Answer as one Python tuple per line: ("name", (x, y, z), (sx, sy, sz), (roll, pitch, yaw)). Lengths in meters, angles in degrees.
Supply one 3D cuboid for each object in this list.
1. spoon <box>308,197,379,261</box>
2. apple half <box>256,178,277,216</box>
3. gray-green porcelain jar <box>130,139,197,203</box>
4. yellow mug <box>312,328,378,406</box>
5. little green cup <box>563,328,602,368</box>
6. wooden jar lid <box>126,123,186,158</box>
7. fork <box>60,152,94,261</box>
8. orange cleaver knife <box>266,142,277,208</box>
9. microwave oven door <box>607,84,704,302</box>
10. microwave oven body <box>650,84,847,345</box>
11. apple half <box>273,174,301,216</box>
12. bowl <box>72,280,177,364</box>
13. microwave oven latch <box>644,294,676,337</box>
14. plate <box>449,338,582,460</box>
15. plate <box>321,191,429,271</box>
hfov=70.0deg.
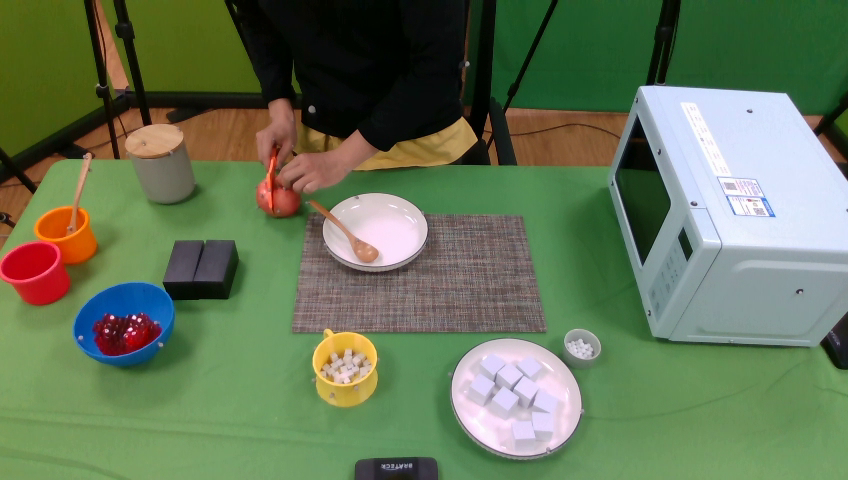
("spoon", (-0.158, -0.025, 1.172), (0.041, 0.022, 0.193), (-40, 72, -21))
("apple half", (-0.319, -0.083, 1.217), (0.033, 0.082, 0.080), (-9, 48, -6))
("gray-green porcelain jar", (-0.522, -0.147, 1.225), (0.106, 0.127, 0.105), (2, 47, -2))
("yellow mug", (-0.132, 0.193, 0.971), (0.100, 0.064, 0.130), (-22, 51, -22))
("little green cup", (0.266, 0.185, 1.025), (0.061, 0.039, 0.061), (1, 45, -1))
("wooden jar lid", (-0.519, -0.190, 1.179), (0.108, 0.021, 0.107), (2, 44, -2))
("fork", (-0.638, -0.063, 1.119), (0.028, 0.018, 0.207), (12, 90, 9))
("orange cleaver knife", (-0.310, -0.137, 1.242), (0.012, 0.077, 0.210), (-4, 33, -8))
("microwave oven door", (0.424, -0.096, 1.138), (0.039, 0.245, 0.353), (3, 46, -1))
("microwave oven body", (0.569, -0.054, 1.116), (0.326, 0.261, 0.439), (2, 46, -1))
("apple half", (-0.276, -0.090, 1.225), (0.053, 0.075, 0.080), (-3, 42, -9))
("bowl", (-0.472, 0.147, 0.982), (0.151, 0.077, 0.150), (2, 46, -2))
("microwave oven latch", (0.411, 0.132, 1.061), (0.030, 0.029, 0.078), (1, 46, -2))
("plate", (0.141, 0.251, 0.956), (0.208, 0.039, 0.206), (2, 46, -2))
("plate", (-0.094, -0.015, 1.185), (0.209, 0.038, 0.208), (2, 46, -2))
